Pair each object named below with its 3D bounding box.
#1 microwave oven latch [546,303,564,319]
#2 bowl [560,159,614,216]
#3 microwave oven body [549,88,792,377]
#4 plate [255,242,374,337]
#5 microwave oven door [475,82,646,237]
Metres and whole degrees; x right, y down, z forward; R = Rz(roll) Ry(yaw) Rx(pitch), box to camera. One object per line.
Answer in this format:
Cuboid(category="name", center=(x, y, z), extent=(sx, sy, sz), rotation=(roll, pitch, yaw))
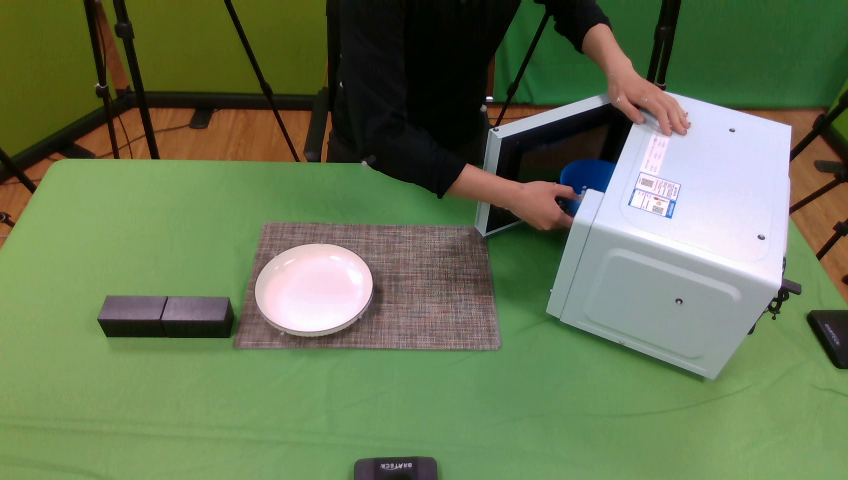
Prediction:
Cuboid(category="microwave oven latch", center=(0.242, 0.102, 1.081), extent=(0.030, 0.029, 0.079), rotation=(21, 48, 17))
Cuboid(category="bowl", center=(0.329, -0.076, 1.153), extent=(0.151, 0.077, 0.150), rotation=(0, 49, 0))
Cuboid(category="microwave oven body", center=(0.456, -0.028, 1.088), extent=(0.325, 0.261, 0.440), rotation=(20, 47, 16))
Cuboid(category="plate", center=(-0.192, 0.090, 1.080), extent=(0.208, 0.039, 0.206), rotation=(2, 46, -2))
Cuboid(category="microwave oven door", center=(0.269, -0.159, 1.193), extent=(0.356, 0.245, 0.039), rotation=(-21, 50, -22))
